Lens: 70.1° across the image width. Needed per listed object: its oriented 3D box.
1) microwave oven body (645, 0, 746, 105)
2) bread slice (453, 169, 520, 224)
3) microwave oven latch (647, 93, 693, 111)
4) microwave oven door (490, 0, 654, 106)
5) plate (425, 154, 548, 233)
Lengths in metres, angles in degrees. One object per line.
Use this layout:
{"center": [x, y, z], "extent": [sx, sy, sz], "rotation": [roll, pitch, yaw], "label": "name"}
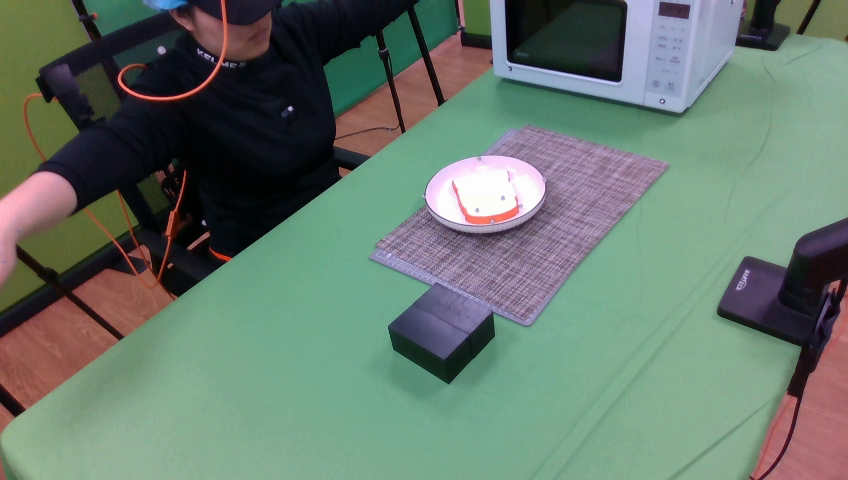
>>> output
{"center": [0.417, -0.486, 1.290], "extent": [0.438, 0.261, 0.327], "rotation": [22, 50, 33], "label": "microwave oven body"}
{"center": [0.112, -0.076, 1.040], "extent": [0.105, 0.019, 0.130], "rotation": [-11, 40, -1], "label": "bread slice"}
{"center": [0.477, -0.273, 1.177], "extent": [0.078, 0.029, 0.030], "rotation": [22, 50, 33], "label": "microwave oven latch"}
{"center": [0.293, -0.420, 1.228], "extent": [0.353, 0.245, 0.039], "rotation": [22, 49, 32], "label": "microwave oven door"}
{"center": [0.108, -0.076, 1.038], "extent": [0.209, 0.038, 0.208], "rotation": [-5, 39, 5], "label": "plate"}
